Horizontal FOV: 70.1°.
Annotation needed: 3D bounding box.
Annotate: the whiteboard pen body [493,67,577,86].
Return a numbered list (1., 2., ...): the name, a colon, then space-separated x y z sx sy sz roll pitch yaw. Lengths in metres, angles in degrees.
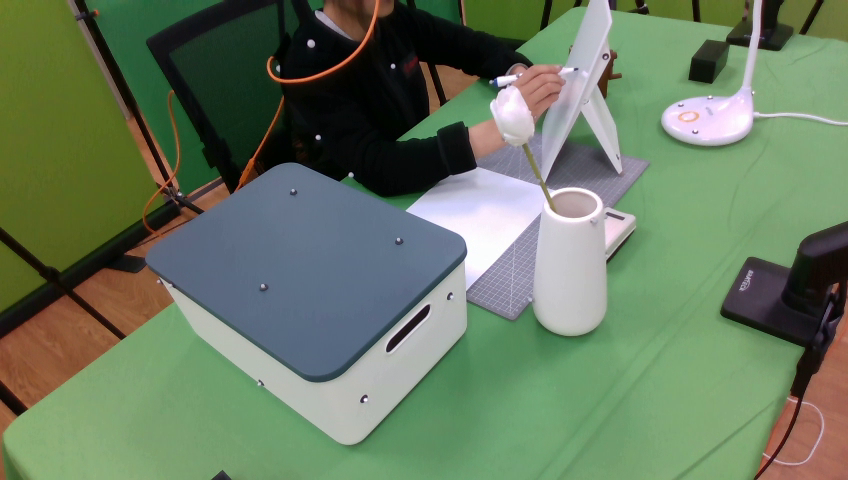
1. whiteboard pen body: 0.187 -0.277 1.016 0.140 0.017 0.017 -6 40 11

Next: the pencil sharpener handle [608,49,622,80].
1. pencil sharpener handle: 0.394 -0.368 1.253 0.030 0.068 0.036 -9 32 1

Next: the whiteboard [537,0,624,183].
1. whiteboard: 0.316 -0.256 1.047 0.144 0.306 0.216 15 42 -1

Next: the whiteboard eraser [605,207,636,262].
1. whiteboard eraser: 0.273 -0.003 0.919 0.055 0.042 0.113 27 51 33

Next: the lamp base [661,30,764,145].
1. lamp base: 0.535 -0.287 1.096 0.179 0.181 0.159 -10 40 -4

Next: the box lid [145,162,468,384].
1. box lid: -0.157 0.014 0.769 0.368 0.015 0.264 25 51 33

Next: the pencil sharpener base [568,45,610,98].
1. pencil sharpener base: 0.345 -0.352 1.263 0.077 0.107 0.061 -9 40 1

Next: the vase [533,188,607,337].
1. vase: 0.187 0.033 0.771 0.098 0.201 0.097 -6 41 6

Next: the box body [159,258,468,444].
1. box body: -0.147 0.072 0.816 0.361 0.161 0.255 24 50 33

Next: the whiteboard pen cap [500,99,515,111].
1. whiteboard pen cap: 0.177 -0.287 1.289 0.033 0.018 0.018 -37 48 -27

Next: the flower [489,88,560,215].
1. flower: 0.159 -0.028 0.720 0.038 0.364 0.044 -15 44 22
